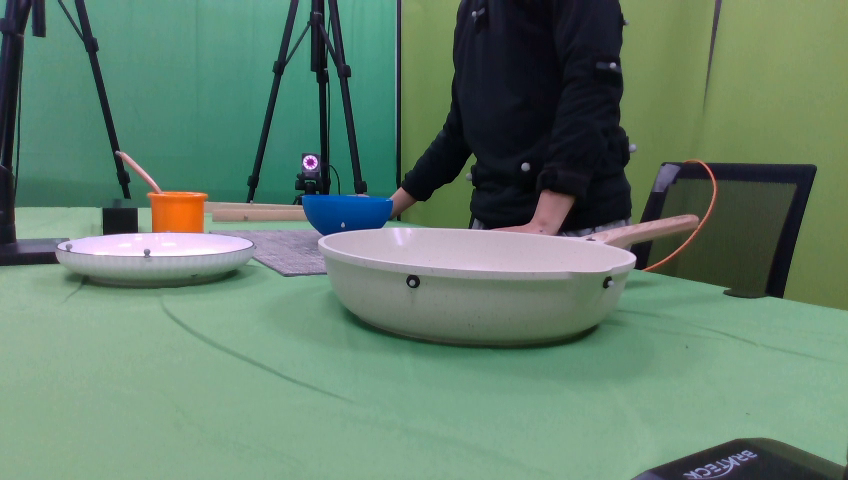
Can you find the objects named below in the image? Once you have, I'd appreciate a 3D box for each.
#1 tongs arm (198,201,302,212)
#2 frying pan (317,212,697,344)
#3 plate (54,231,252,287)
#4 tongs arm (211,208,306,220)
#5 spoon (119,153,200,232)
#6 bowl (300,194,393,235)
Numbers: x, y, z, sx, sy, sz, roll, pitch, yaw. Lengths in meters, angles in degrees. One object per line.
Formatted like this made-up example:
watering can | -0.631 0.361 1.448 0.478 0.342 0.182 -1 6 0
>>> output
tongs arm | -0.328 -0.072 1.434 0.387 0.026 0.050 0 7 -27
frying pan | 0.133 0.013 0.629 0.490 0.102 0.305 -12 14 -31
plate | -0.309 0.020 0.704 0.208 0.039 0.207 3 7 0
tongs arm | -0.287 -0.060 1.366 0.390 0.028 0.028 -3 5 -39
spoon | -0.439 -0.077 1.000 0.021 0.193 0.042 -43 -7 21
bowl | -0.128 -0.034 0.995 0.151 0.077 0.151 2 7 0
